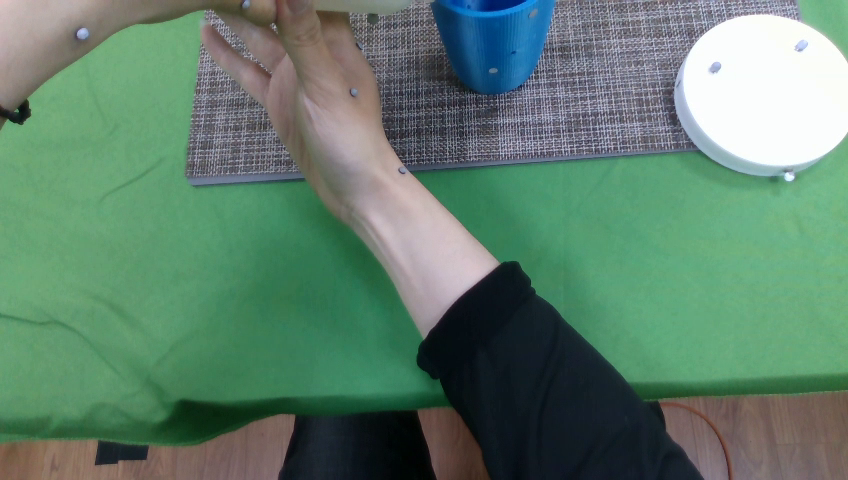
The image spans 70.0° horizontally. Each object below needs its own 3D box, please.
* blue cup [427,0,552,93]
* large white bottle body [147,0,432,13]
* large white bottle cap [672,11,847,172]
[{"bbox_3d":[0.044,-0.150,0.401,0.092,0.101,0.092,-2,71,7],"label":"blue cup"},{"bbox_3d":[-0.065,-0.184,0.299,0.185,0.131,0.130,3,72,-1],"label":"large white bottle body"},{"bbox_3d":[0.229,-0.102,0.411,0.115,0.018,0.114,-1,75,3],"label":"large white bottle cap"}]
